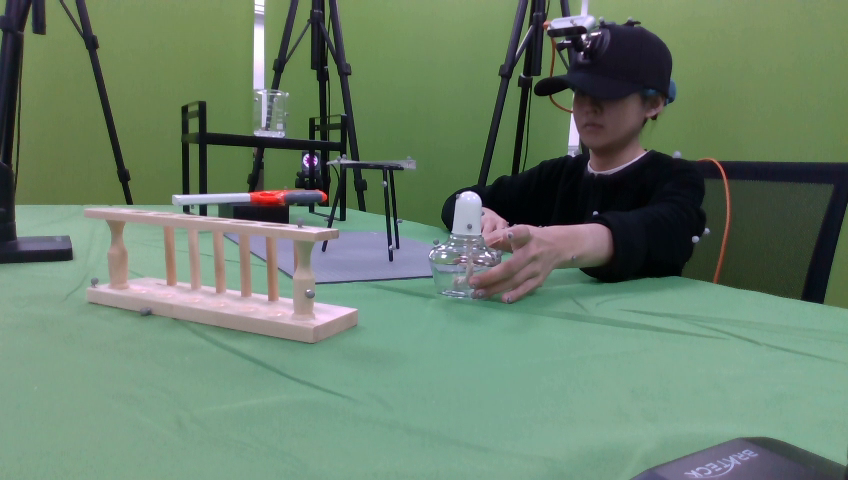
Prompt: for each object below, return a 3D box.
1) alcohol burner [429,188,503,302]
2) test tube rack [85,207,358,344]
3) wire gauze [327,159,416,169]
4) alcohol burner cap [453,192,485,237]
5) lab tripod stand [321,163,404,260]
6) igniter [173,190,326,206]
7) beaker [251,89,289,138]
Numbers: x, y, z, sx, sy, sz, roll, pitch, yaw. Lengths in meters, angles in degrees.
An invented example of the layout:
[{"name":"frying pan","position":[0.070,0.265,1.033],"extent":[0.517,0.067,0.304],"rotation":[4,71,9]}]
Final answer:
[{"name":"alcohol burner","position":[0.046,0.005,0.634],"extent":[0.078,0.119,0.078],"rotation":[5,8,0]},{"name":"test tube rack","position":[-0.177,0.022,0.518],"extent":[0.241,0.085,0.067],"rotation":[6,7,23]},{"name":"wire gauze","position":[-0.072,-0.111,0.872],"extent":[0.121,0.011,0.125],"rotation":[3,5,-2]},{"name":"alcohol burner cap","position":[0.048,-0.026,0.629],"extent":[0.034,0.048,0.034],"rotation":[3,6,0]},{"name":"lab tripod stand","position":[-0.075,-0.045,0.884],"extent":[0.148,0.131,0.148],"rotation":[2,5,0]},{"name":"igniter","position":[-0.317,-0.079,1.128],"extent":[0.278,0.025,0.057],"rotation":[-4,13,-32]},{"name":"beaker","position":[-0.334,-0.273,1.316],"extent":[0.084,0.100,0.074],"rotation":[6,8,15]}]
